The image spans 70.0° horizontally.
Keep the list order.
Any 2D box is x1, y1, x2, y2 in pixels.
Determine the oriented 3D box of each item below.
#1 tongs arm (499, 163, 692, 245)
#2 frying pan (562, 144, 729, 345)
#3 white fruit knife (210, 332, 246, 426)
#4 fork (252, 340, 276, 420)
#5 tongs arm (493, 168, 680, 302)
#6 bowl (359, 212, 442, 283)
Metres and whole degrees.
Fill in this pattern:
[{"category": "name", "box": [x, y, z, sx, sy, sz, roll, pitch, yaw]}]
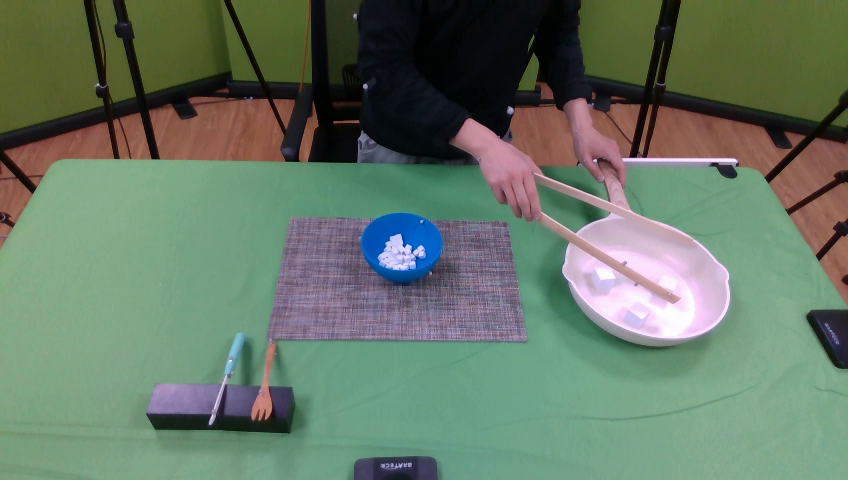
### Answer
[{"category": "tongs arm", "box": [0.317, -0.065, 1.119, 0.388, 0.028, 0.028, 21, 64, -5]}, {"category": "frying pan", "box": [0.396, -0.008, 1.179, 0.307, 0.103, 0.484, 1, 55, -4]}, {"category": "white fruit knife", "box": [-0.301, 0.206, 0.930, 0.016, 0.027, 0.206, 5, 29, -7]}, {"category": "fork", "box": [-0.242, 0.211, 0.932, 0.028, 0.019, 0.206, -5, 26, -7]}, {"category": "tongs arm", "box": [0.288, -0.008, 1.081, 0.385, 0.026, 0.050, 31, 61, 0]}, {"category": "bowl", "box": [-0.044, 0.026, 1.125, 0.151, 0.077, 0.150, 2, 46, -2]}]
